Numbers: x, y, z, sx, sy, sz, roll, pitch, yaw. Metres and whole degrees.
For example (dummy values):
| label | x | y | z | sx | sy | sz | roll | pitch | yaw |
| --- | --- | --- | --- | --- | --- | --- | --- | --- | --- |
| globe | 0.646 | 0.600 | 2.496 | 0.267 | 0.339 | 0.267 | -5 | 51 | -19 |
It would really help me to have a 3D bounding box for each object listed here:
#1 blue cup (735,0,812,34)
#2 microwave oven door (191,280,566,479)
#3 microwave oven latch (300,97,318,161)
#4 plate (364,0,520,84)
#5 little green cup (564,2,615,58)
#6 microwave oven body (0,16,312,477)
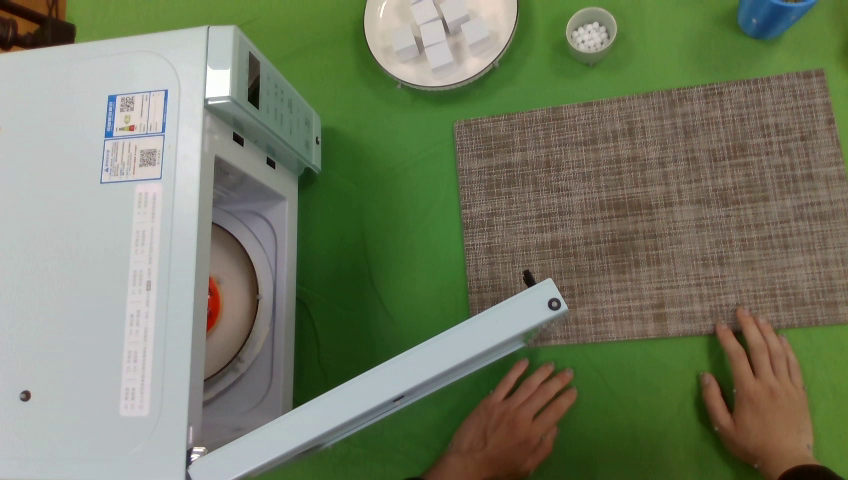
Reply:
| label | x | y | z | sx | sy | sz | roll | pitch | yaw |
| --- | --- | --- | --- | --- | --- | --- | --- | --- | --- |
| blue cup | 0.408 | -0.291 | 0.702 | 0.092 | 0.100 | 0.092 | -1 | 81 | 10 |
| microwave oven door | -0.022 | 0.141 | 0.620 | 0.356 | 0.245 | 0.039 | -28 | 75 | 5 |
| microwave oven latch | -0.156 | -0.146 | 0.798 | 0.030 | 0.029 | 0.079 | -1 | 81 | 10 |
| plate | 0.024 | -0.303 | 0.810 | 0.207 | 0.039 | 0.207 | -2 | 80 | 11 |
| little green cup | 0.209 | -0.263 | 0.768 | 0.061 | 0.039 | 0.061 | -2 | 80 | 11 |
| microwave oven body | -0.317 | 0.020 | 0.702 | 0.325 | 0.261 | 0.440 | -3 | 81 | 10 |
